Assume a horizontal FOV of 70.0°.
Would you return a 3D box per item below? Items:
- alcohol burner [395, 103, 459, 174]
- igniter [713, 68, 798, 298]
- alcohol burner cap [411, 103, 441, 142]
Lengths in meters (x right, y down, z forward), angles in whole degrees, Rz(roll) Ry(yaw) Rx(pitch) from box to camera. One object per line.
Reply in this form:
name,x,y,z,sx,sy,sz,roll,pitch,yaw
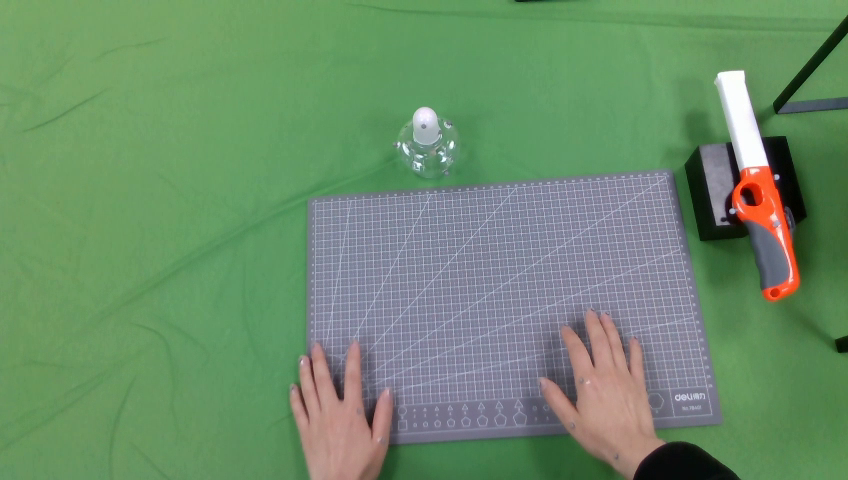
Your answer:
alcohol burner,0.002,-0.126,0.713,0.078,0.120,0.077,-1,73,5
igniter,0.363,-0.070,0.669,0.057,0.025,0.274,-4,69,4
alcohol burner cap,0.001,-0.135,0.683,0.034,0.048,0.033,-1,73,5
